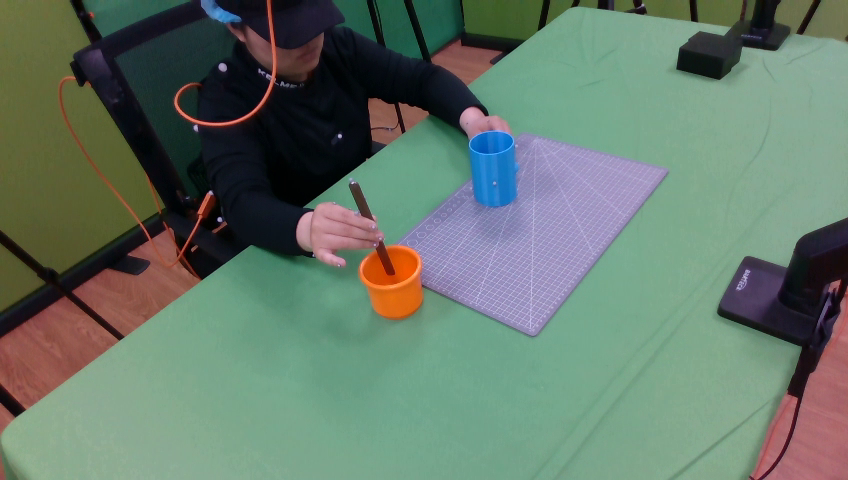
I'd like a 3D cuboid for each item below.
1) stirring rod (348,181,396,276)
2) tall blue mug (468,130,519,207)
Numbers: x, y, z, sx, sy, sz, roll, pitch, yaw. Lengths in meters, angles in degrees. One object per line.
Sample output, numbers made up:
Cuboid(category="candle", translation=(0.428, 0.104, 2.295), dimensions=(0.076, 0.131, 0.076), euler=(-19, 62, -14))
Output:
Cuboid(category="stirring rod", translation=(-0.068, -0.011, 0.820), dimensions=(0.014, 0.177, 0.006), euler=(-6, 44, 14))
Cuboid(category="tall blue mug", translation=(0.114, -0.131, 1.045), dimensions=(0.078, 0.108, 0.106), euler=(-20, 41, -11))
